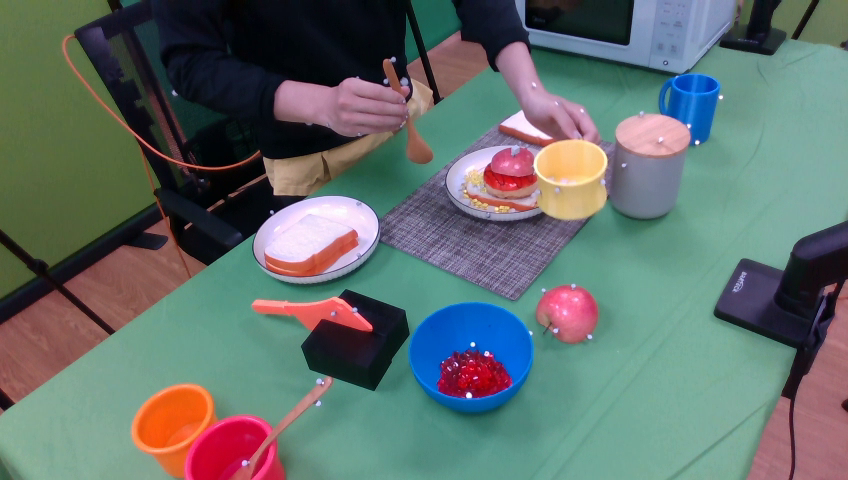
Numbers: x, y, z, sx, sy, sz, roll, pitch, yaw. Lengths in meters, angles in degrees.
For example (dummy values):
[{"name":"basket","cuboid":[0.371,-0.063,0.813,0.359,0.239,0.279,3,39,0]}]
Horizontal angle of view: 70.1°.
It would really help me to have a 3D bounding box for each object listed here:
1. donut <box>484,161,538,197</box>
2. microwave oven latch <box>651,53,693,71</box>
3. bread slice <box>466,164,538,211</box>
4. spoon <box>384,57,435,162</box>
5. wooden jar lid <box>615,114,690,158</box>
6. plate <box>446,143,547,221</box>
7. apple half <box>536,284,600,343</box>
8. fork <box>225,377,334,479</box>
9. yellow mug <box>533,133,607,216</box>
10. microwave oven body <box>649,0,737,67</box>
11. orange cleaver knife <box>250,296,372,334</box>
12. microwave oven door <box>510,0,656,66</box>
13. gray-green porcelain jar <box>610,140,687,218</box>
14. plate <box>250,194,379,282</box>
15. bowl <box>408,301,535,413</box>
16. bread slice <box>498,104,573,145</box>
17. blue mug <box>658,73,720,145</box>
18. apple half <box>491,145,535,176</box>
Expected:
[{"name":"donut","cuboid":[0.149,-0.109,1.016,0.099,0.048,0.098,-4,40,4]},{"name":"microwave oven latch","cuboid":[0.532,-0.386,1.301,0.078,0.029,0.030,27,52,34]},{"name":"bread slice","cuboid":[0.141,-0.093,1.042,0.133,0.018,0.107,11,43,19]},{"name":"spoon","cuboid":[-0.024,-0.175,0.845,0.041,0.195,0.021,-5,49,16]},{"name":"wooden jar lid","cuboid":[0.347,-0.155,0.923,0.108,0.021,0.108,-3,44,4]},{"name":"plate","cuboid":[0.142,-0.096,1.045,0.207,0.039,0.206,-4,41,4]},{"name":"apple half","cuboid":[0.196,0.091,0.815,0.075,0.053,0.080,-22,42,-20]},{"name":"fork","cuboid":[-0.163,0.216,0.646,0.207,0.019,0.028,-49,42,16]},{"name":"yellow mug","cuboid":[0.213,-0.103,0.867,0.099,0.064,0.130,7,48,21]},{"name":"microwave oven body","cuboid":[0.475,-0.602,1.411,0.438,0.261,0.327,23,50,32]},{"name":"orange cleaver knife","cuboid":[-0.158,0.103,0.828,0.210,0.078,0.012,-4,43,39]},{"name":"microwave oven door","cuboid":[0.350,-0.539,1.348,0.353,0.245,0.039,24,50,31]},{"name":"gray-green porcelain jar","cuboid":[0.354,-0.106,0.964,0.106,0.127,0.105,-4,41,4]},{"name":"plate","cuboid":[-0.174,-0.001,0.984,0.209,0.038,0.208,-3,40,3]},{"name":"bowl","cuboid":[0.060,0.156,0.739,0.151,0.077,0.150,-4,40,4]},{"name":"bread slice","cuboid":[0.231,-0.231,1.206,0.105,0.019,0.130,-37,47,-28]},{"name":"blue mug","cuboid":[0.483,-0.250,1.127,0.082,0.106,0.115,-26,44,-19]},{"name":"apple half","cuboid":[0.147,-0.138,0.994,0.081,0.033,0.081,0,37,0]}]
